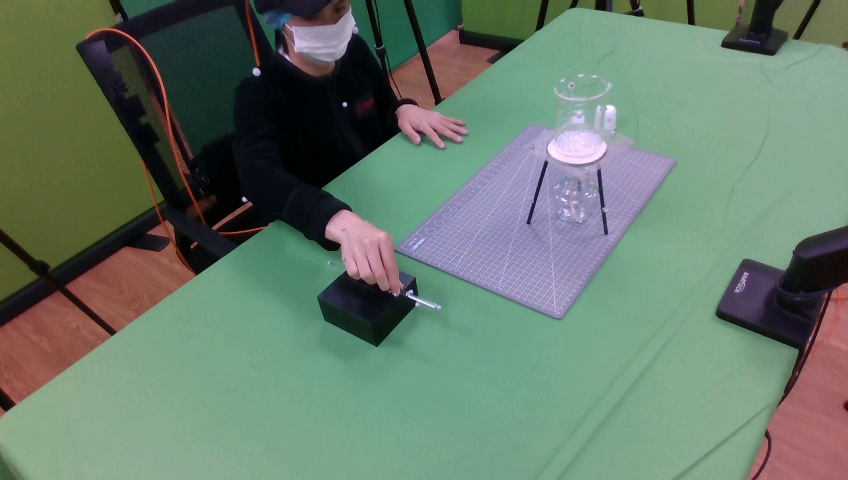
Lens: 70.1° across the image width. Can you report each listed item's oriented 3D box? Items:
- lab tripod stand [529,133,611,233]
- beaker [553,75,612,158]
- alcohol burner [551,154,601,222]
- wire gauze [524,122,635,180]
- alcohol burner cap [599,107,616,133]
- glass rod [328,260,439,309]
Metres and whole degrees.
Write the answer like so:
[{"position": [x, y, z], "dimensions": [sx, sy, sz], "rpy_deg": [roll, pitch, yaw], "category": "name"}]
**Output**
[{"position": [0.236, -0.089, 0.953], "dimensions": [0.148, 0.132, 0.147], "rpy_deg": [-5, 41, 5], "category": "lab tripod stand"}, {"position": [0.230, -0.178, 0.882], "dimensions": [0.084, 0.101, 0.073], "rpy_deg": [-9, 41, 1], "category": "beaker"}, {"position": [0.244, -0.087, 0.966], "dimensions": [0.078, 0.119, 0.077], "rpy_deg": [-3, 41, 3], "category": "alcohol burner"}, {"position": [0.233, -0.142, 0.913], "dimensions": [0.122, 0.011, 0.124], "rpy_deg": [-31, 42, -26], "category": "wire gauze"}, {"position": [0.361, -0.238, 1.189], "dimensions": [0.034, 0.048, 0.033], "rpy_deg": [-4, 40, 4], "category": "alcohol burner cap"}, {"position": [-0.062, 0.062, 0.848], "dimensions": [0.198, 0.008, 0.008], "rpy_deg": [20, 47, 30], "category": "glass rod"}]
